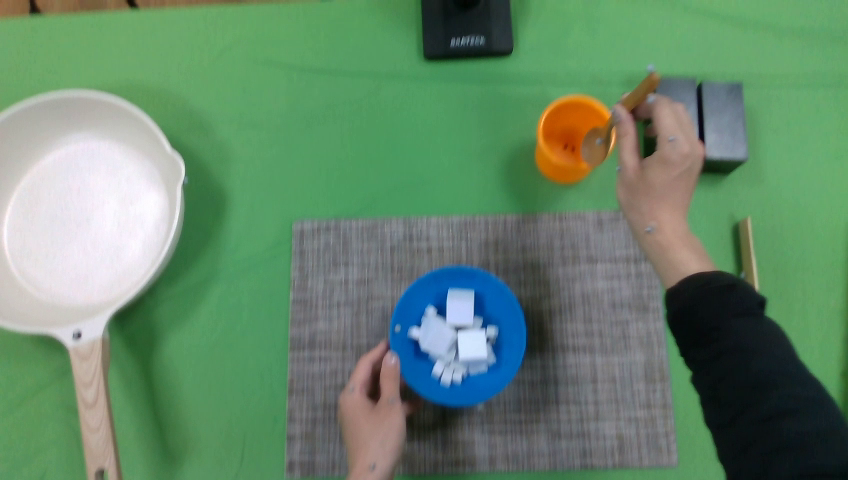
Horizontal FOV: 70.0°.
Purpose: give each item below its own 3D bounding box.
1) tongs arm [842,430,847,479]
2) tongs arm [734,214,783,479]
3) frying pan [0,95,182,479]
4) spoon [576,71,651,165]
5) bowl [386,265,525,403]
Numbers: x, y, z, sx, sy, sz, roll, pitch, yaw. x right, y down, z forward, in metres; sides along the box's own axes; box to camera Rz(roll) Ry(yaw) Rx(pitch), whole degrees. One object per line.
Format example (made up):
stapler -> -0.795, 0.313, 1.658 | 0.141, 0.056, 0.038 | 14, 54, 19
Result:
tongs arm -> 0.479, 0.164, 0.695 | 0.051, 0.026, 0.383 | 9, 79, 5
tongs arm -> 0.399, 0.158, 0.703 | 0.028, 0.028, 0.385 | -3, 77, -1
frying pan -> -0.400, 0.062, 0.702 | 0.307, 0.103, 0.484 | -18, 69, -2
spoon -> 0.182, -0.116, 0.595 | 0.021, 0.194, 0.041 | -12, 80, -1
bowl -> 0.035, 0.108, 0.690 | 0.151, 0.077, 0.150 | 0, 77, 2
